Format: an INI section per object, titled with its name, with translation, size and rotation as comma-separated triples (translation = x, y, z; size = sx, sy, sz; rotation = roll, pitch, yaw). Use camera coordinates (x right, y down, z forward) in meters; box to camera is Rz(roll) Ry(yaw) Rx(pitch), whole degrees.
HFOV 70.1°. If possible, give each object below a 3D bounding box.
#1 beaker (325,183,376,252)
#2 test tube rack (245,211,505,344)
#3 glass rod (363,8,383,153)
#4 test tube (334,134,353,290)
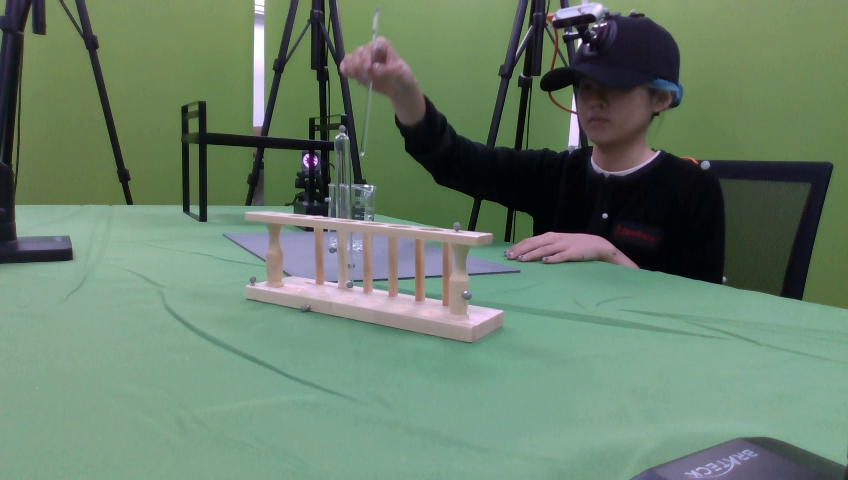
[beaker]
translation = -0.110, -0.034, 0.920
size = 0.083, 0.100, 0.074
rotation = 10, 11, 43
[test tube rack]
translation = -0.049, 0.025, 0.547
size = 0.241, 0.085, 0.067
rotation = 7, 8, 29
[glass rod]
translation = -0.070, -0.217, 0.825
size = 0.008, 0.199, 0.008
rotation = 6, 0, 0
[test tube]
translation = -0.077, -0.026, 0.579
size = 0.017, 0.150, 0.017
rotation = 0, 7, 0
